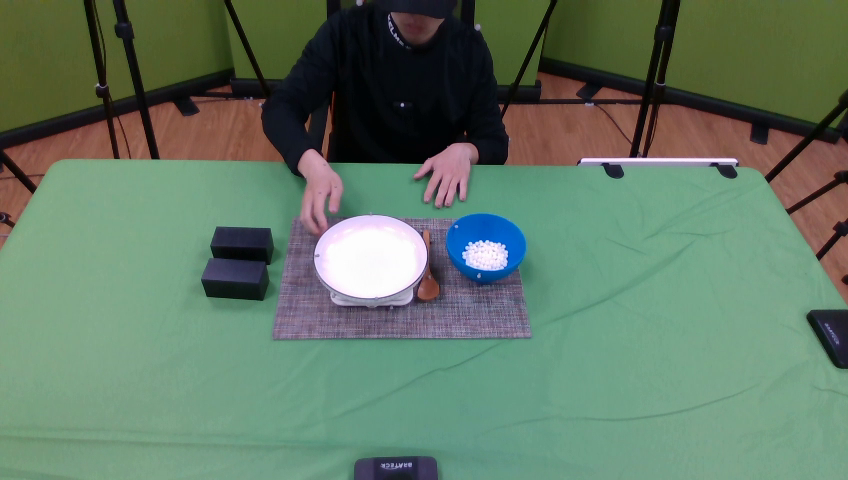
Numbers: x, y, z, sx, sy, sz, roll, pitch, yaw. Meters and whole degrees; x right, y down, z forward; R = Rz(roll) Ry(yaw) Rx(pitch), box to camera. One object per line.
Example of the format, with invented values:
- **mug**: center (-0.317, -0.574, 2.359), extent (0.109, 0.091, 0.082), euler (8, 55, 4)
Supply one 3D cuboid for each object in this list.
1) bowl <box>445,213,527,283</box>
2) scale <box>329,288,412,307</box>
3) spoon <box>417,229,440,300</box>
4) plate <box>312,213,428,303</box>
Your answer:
- **bowl**: center (0.112, 0.027, 1.136), extent (0.151, 0.077, 0.150), euler (2, 46, -2)
- **scale**: center (-0.098, 0.042, 1.139), extent (0.149, 0.032, 0.199), euler (0, 46, -4)
- **spoon**: center (0.006, 0.043, 1.152), extent (0.041, 0.022, 0.192), euler (-9, 45, 7)
- **plate**: center (-0.097, 0.036, 1.100), extent (0.209, 0.038, 0.208), euler (2, 46, -1)
